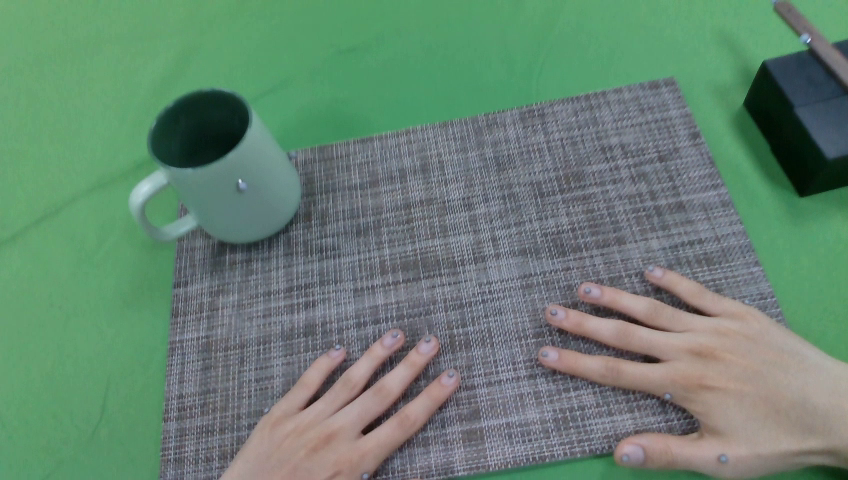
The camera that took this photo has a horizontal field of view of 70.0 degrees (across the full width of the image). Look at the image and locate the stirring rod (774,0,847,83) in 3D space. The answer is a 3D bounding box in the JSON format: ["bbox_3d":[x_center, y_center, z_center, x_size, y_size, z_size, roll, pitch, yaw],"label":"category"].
[{"bbox_3d":[0.317,-0.128,0.452,0.014,0.006,0.174,-19,61,-3],"label":"stirring rod"}]

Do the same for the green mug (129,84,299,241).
[{"bbox_3d":[-0.168,-0.047,0.476,0.125,0.106,0.091,-40,64,-13],"label":"green mug"}]
